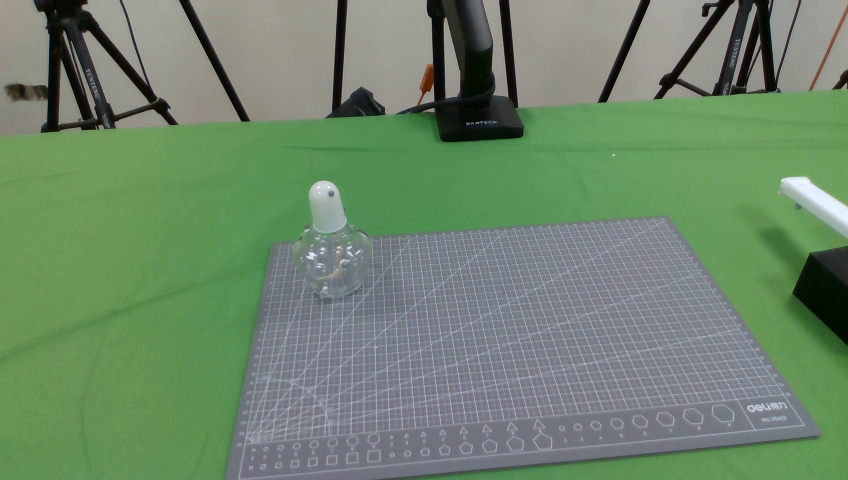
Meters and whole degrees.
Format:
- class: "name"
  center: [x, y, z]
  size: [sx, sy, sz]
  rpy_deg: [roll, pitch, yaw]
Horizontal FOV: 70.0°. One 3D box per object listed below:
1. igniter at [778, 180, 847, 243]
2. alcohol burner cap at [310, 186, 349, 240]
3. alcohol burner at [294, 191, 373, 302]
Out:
- class: "igniter"
  center: [0.418, 0.013, 0.545]
  size: [0.057, 0.025, 0.273]
  rpy_deg: [-5, 32, -6]
- class: "alcohol burner cap"
  center: [-0.089, -0.028, 0.559]
  size: [0.034, 0.048, 0.033]
  rpy_deg: [-3, 38, 2]
- class: "alcohol burner"
  center: [-0.088, 0.001, 0.581]
  size: [0.078, 0.120, 0.077]
  rpy_deg: [0, 38, 0]
